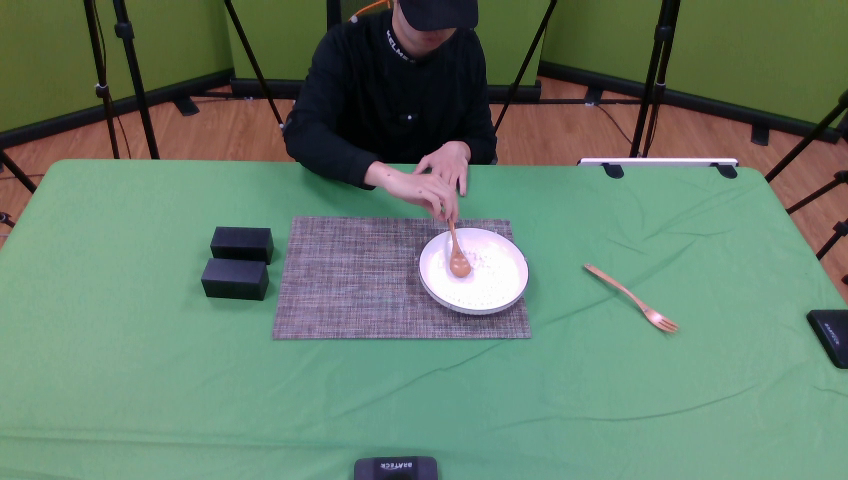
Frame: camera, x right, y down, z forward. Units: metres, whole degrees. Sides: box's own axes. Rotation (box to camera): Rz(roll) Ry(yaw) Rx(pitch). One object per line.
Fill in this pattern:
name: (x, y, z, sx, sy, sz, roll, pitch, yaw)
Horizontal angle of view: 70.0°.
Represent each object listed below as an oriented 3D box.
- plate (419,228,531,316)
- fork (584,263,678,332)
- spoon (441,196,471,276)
plate: (0.093, 0.062, 1.131, 0.208, 0.039, 0.206, 2, 46, -2)
fork: (0.380, 0.103, 1.130, 0.028, 0.019, 0.206, -34, 58, -23)
spoon: (0.056, -0.010, 1.176, 0.041, 0.022, 0.192, -6, 60, -7)
